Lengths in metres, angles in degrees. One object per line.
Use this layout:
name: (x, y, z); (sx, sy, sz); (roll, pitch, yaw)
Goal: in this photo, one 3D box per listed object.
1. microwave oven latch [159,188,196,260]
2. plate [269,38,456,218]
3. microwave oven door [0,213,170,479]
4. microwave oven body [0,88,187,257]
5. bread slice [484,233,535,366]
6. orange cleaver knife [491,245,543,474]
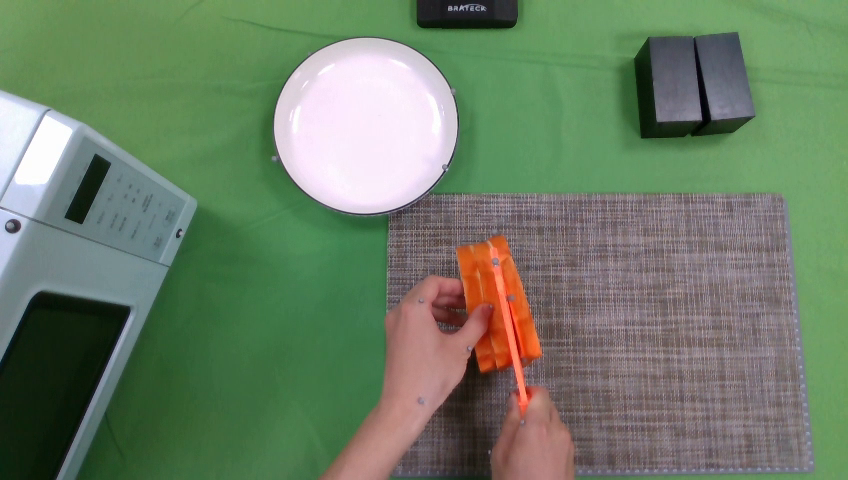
microwave oven latch: (-0.273, -0.019, 0.649); (0.030, 0.029, 0.079); (22, 82, 3)
plate: (-0.067, -0.124, 0.686); (0.208, 0.039, 0.207); (0, 80, -1)
microwave oven door: (-0.353, 0.163, 0.515); (0.039, 0.244, 0.355); (20, 81, 4)
microwave oven body: (-0.475, 0.075, 0.534); (0.326, 0.261, 0.440); (20, 81, 3)
bread slice: (0.085, 0.061, 0.617); (0.018, 0.107, 0.133); (-12, 76, 0)
orange cleaver knife: (0.085, 0.111, 0.562); (0.012, 0.077, 0.212); (-11, 101, 9)
